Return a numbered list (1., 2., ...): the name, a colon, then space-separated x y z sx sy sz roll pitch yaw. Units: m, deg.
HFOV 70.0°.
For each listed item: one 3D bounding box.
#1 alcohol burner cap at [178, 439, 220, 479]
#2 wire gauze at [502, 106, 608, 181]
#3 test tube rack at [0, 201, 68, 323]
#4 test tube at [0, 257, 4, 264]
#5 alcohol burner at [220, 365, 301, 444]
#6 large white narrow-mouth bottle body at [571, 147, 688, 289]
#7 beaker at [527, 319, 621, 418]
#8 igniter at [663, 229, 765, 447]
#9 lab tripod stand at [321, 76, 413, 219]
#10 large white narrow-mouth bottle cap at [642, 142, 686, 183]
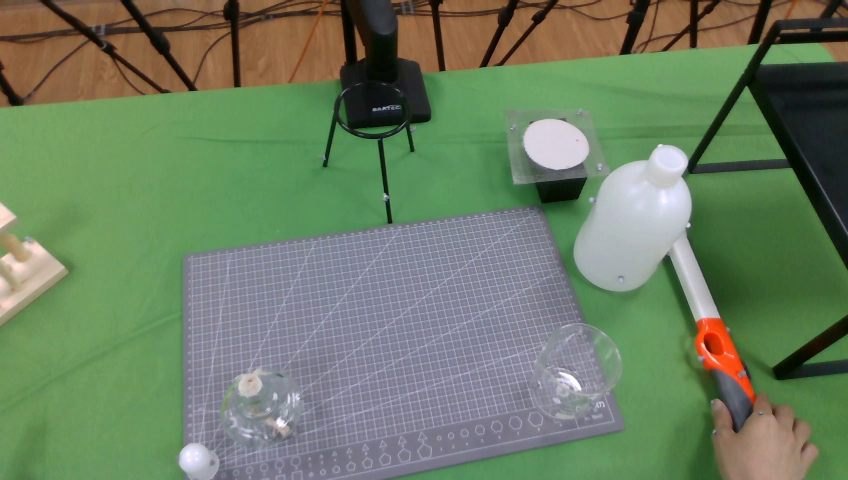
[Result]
1. alcohol burner cap: -0.219 0.210 0.583 0.034 0.048 0.033 2 58 -2
2. wire gauze: 0.166 -0.128 0.785 0.121 0.011 0.124 -2 58 -5
3. test tube rack: -0.511 0.073 0.625 0.066 0.086 0.242 35 62 17
4. test tube: -0.481 -0.008 0.620 0.017 0.151 0.017 0 60 1
5. alcohol burner: -0.159 0.152 0.581 0.078 0.120 0.077 3 56 -4
6. large white narrow-mouth bottle body: 0.234 -0.030 0.676 0.102 0.196 0.101 2 57 -2
7. beaker: 0.145 0.136 0.620 0.084 0.101 0.073 -3 58 -4
8. igniter: 0.326 0.099 0.701 0.057 0.025 0.274 3 57 -18
9. lab tripod stand: -0.061 -0.119 0.748 0.148 0.132 0.147 3 59 -4
10. large white narrow-mouth bottle cap: 0.238 -0.078 0.604 0.038 0.024 0.037 2 58 -2
